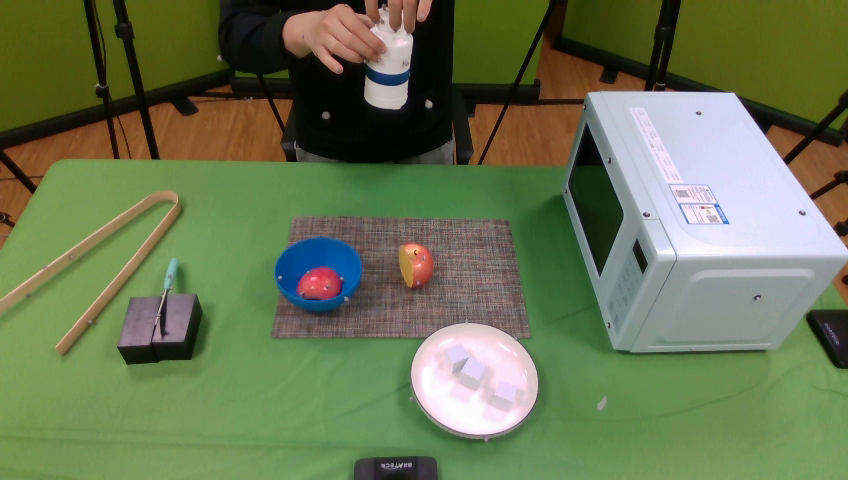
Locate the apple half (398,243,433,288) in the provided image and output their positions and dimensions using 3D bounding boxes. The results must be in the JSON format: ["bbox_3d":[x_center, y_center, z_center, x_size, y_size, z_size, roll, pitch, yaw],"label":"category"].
[{"bbox_3d":[-0.012,0.046,1.115,0.053,0.075,0.080,-11,44,-19],"label":"apple half"}]

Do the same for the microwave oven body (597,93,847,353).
[{"bbox_3d":[0.475,-0.041,1.109,0.326,0.261,0.438,-1,45,-4],"label":"microwave oven body"}]

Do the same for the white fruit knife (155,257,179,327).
[{"bbox_3d":[-0.440,0.085,1.037,0.016,0.027,0.206,10,26,-19],"label":"white fruit knife"}]

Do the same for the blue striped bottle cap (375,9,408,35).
[{"bbox_3d":[-0.043,-0.292,0.809,0.044,0.021,0.044,4,38,-3],"label":"blue striped bottle cap"}]

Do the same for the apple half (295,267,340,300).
[{"bbox_3d":[-0.187,0.070,1.067,0.081,0.033,0.081,3,47,-3],"label":"apple half"}]

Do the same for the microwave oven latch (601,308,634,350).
[{"bbox_3d":[0.331,0.153,1.044,0.030,0.029,0.078,-2,45,-5],"label":"microwave oven latch"}]

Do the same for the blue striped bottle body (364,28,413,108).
[{"bbox_3d":[-0.050,-0.252,0.848,0.063,0.121,0.062,5,42,-5],"label":"blue striped bottle body"}]

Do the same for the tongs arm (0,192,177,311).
[{"bbox_3d":[-0.618,0.019,1.124,0.050,0.026,0.384,23,47,16],"label":"tongs arm"}]

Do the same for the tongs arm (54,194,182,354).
[{"bbox_3d":[-0.543,0.048,1.107,0.028,0.028,0.385,11,45,10],"label":"tongs arm"}]

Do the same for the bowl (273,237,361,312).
[{"bbox_3d":[-0.186,0.074,1.069,0.151,0.077,0.150,3,46,-3],"label":"bowl"}]

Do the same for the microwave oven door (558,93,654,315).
[{"bbox_3d":[0.327,-0.074,1.123,0.039,0.245,0.353,-1,46,-5],"label":"microwave oven door"}]

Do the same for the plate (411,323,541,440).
[{"bbox_3d":[0.082,0.228,0.976,0.208,0.039,0.206,2,45,-2],"label":"plate"}]
